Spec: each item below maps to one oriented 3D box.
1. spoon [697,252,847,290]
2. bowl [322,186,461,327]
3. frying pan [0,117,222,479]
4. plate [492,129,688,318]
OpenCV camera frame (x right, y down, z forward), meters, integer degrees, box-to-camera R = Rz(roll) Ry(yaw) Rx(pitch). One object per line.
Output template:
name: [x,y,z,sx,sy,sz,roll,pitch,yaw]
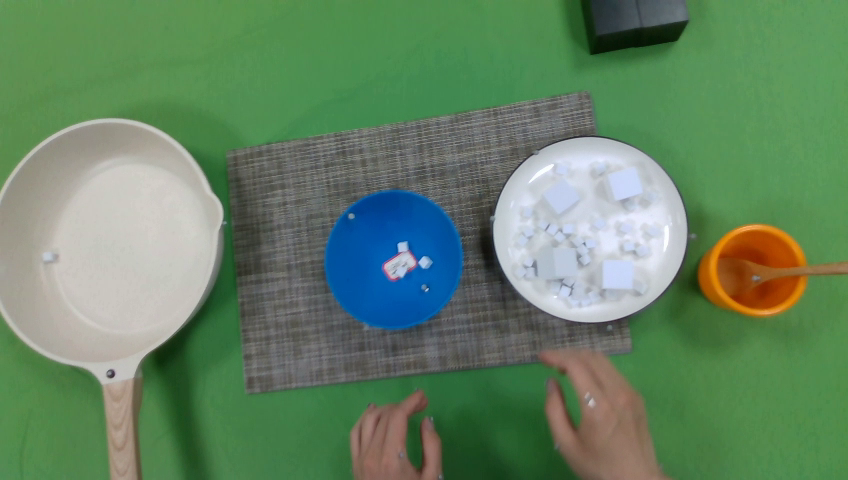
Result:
spoon: [0.364,0.026,0.592,0.022,0.193,0.041,2,82,-37]
bowl: [-0.030,0.021,0.675,0.151,0.077,0.151,-1,83,8]
frying pan: [-0.356,0.099,0.700,0.306,0.103,0.484,-12,74,7]
plate: [0.180,-0.017,0.673,0.207,0.039,0.207,-1,83,8]
